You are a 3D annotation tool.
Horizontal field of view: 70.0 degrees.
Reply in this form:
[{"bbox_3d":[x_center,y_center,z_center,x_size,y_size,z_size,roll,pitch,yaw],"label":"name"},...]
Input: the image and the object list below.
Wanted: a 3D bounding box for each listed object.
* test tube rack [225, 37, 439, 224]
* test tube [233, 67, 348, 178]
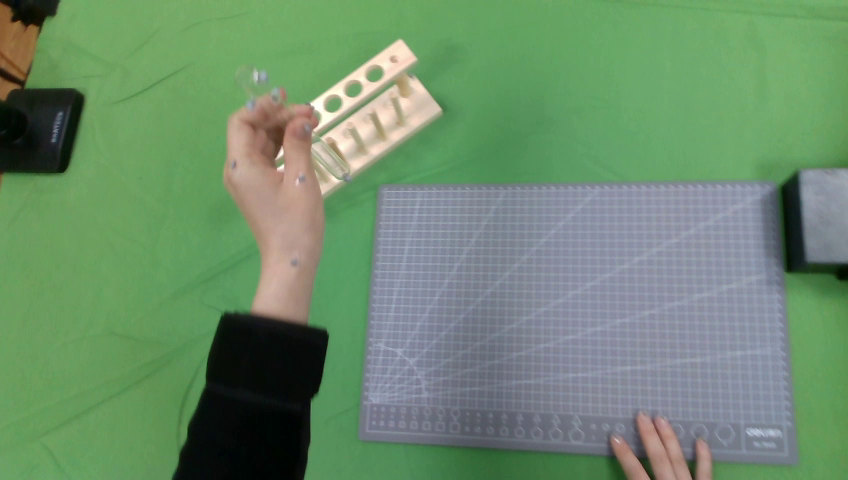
[{"bbox_3d":[-0.104,-0.126,0.719,0.242,0.086,0.066,-36,73,-1],"label":"test tube rack"},{"bbox_3d":[-0.095,-0.083,0.461,0.017,0.151,0.017,-6,69,18],"label":"test tube"}]
